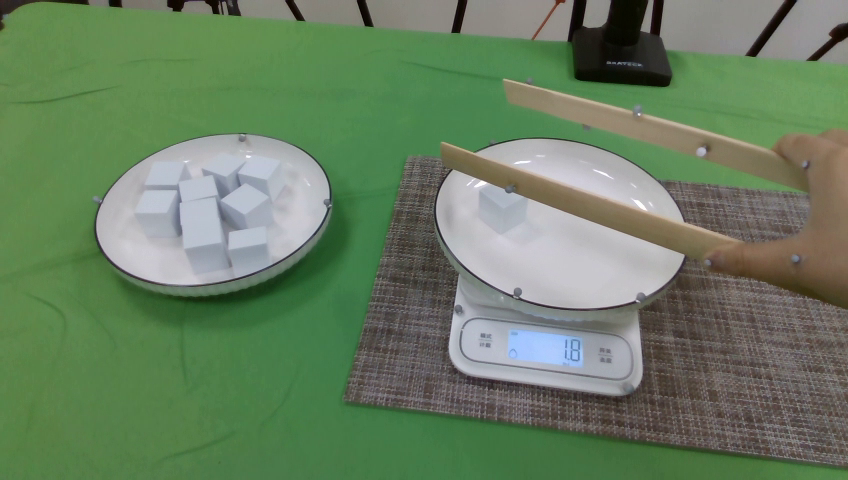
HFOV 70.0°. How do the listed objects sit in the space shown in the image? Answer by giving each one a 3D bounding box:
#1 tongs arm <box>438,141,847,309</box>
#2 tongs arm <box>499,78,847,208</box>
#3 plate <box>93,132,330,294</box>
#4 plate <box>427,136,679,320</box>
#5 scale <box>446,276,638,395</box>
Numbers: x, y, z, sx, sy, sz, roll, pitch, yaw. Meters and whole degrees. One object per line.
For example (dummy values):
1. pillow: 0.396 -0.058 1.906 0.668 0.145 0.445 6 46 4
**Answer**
1. tongs arm: 0.164 -0.006 0.366 0.384 0.028 0.028 22 57 32
2. tongs arm: 0.194 -0.040 0.383 0.381 0.027 0.050 26 62 33
3. plate: -0.191 -0.026 0.566 0.209 0.038 0.207 1 46 -1
4. plate: 0.106 -0.011 0.514 0.208 0.039 0.205 2 46 -1
5. scale: 0.102 0.032 0.518 0.148 0.032 0.199 7 47 5
